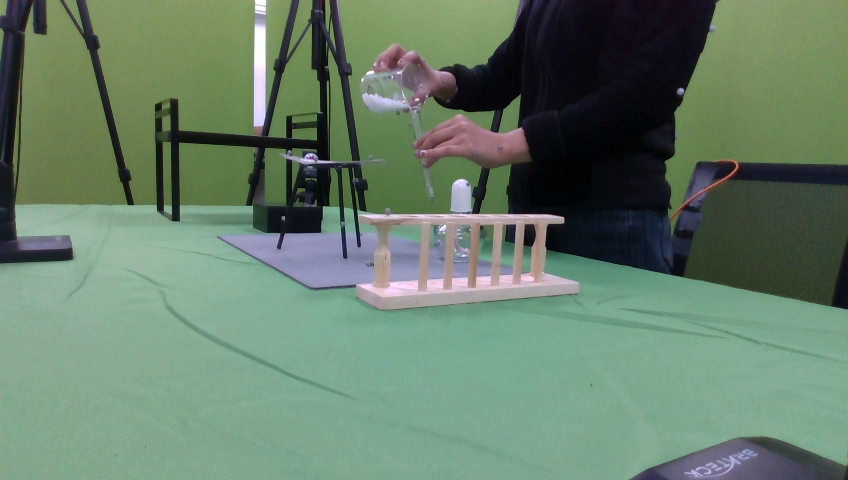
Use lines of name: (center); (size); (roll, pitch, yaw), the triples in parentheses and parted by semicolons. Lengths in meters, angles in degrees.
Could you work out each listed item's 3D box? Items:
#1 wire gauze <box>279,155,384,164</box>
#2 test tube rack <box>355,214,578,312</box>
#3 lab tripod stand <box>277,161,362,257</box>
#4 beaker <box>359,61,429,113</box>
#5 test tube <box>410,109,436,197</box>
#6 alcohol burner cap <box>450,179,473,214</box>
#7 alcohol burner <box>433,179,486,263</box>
wire gauze: (-0.134, -0.114, 0.875); (0.122, 0.011, 0.124); (-1, 8, -30)
test tube rack: (0.053, 0.018, 0.640); (0.243, 0.085, 0.066); (-1, 9, -29)
lab tripod stand: (-0.143, -0.049, 0.884); (0.148, 0.131, 0.148); (2, 9, 0)
beaker: (-0.053, -0.254, 1.025); (0.100, 0.084, 0.074); (2, 5, 38)
test tube: (-0.002, -0.143, 0.989); (0.017, 0.150, 0.017); (-11, -8, -1)
alcohol burner cap: (0.053, -0.063, 0.859); (0.034, 0.048, 0.034); (0, 15, 0)
alcohol burner: (0.051, -0.027, 0.862); (0.078, 0.119, 0.078); (1, 6, 0)
